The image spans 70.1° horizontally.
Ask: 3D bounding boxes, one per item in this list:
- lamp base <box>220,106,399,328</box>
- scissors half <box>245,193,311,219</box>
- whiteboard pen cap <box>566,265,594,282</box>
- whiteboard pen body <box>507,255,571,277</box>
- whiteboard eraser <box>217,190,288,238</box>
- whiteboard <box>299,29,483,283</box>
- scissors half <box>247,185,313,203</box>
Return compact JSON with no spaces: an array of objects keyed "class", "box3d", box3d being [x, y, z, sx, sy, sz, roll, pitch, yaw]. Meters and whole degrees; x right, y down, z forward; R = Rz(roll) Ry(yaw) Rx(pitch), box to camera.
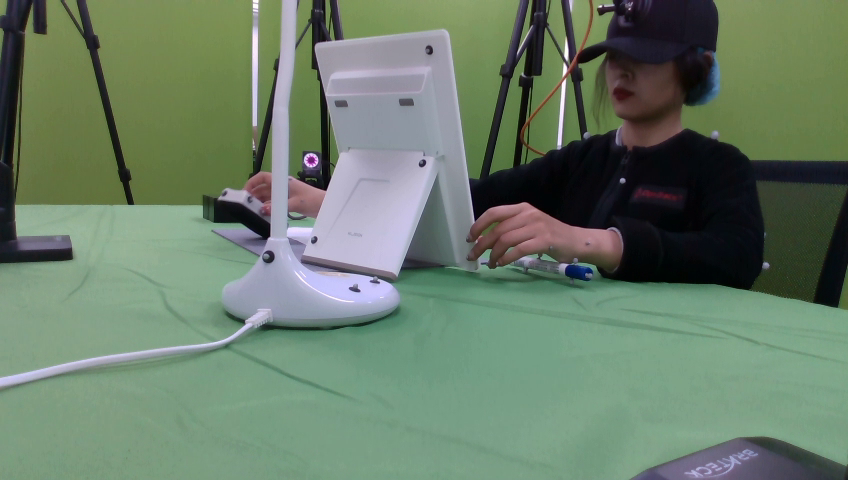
[{"class":"lamp base","box3d":[-0.102,-0.023,0.531,0.160,0.180,0.179,4,10,10]},{"class":"scissors half","box3d":[-0.330,-0.078,1.319,0.176,0.040,0.013,16,3,-32]},{"class":"whiteboard pen cap","box3d":[0.185,0.040,0.722,0.018,0.018,0.033,-2,7,-33]},{"class":"whiteboard pen body","box3d":[0.156,0.034,0.773,0.017,0.017,0.140,-2,7,-32]},{"class":"whiteboard eraser","box3d":[-0.275,-0.038,0.971,0.055,0.042,0.113,13,-18,33]},{"class":"whiteboard","box3d":[-0.074,-0.082,0.742,0.216,0.305,0.144,9,29,38]},{"class":"scissors half","box3d":[-0.326,-0.098,1.315,0.176,0.040,0.012,-5,20,-29]}]
